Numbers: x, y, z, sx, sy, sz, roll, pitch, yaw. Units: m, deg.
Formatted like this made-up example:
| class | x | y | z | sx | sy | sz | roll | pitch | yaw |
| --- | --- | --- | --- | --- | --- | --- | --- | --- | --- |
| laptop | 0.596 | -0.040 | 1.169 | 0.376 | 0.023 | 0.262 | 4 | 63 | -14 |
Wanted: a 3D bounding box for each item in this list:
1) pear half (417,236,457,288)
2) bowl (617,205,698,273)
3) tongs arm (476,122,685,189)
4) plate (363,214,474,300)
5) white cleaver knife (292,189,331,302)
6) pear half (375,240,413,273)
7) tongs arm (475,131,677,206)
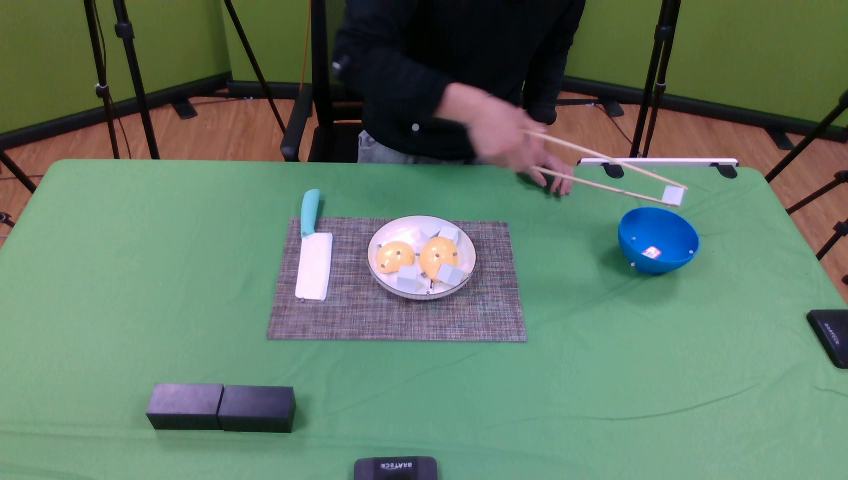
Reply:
| class | x | y | z | sx | sy | sz | roll | pitch | yaw |
| --- | --- | --- | --- | --- | --- | --- | --- | --- | --- |
| pear half | 0.022 | 0.039 | 1.127 | 0.076 | 0.056 | 0.109 | 5 | 50 | 7 |
| bowl | 0.444 | 0.011 | 1.181 | 0.151 | 0.077 | 0.150 | 2 | 46 | -2 |
| tongs arm | 0.279 | -0.145 | 1.057 | 0.388 | 0.028 | 0.027 | 16 | 21 | -9 |
| plate | -0.010 | 0.036 | 1.146 | 0.208 | 0.039 | 0.206 | 2 | 46 | -2 |
| white cleaver knife | -0.215 | 0.006 | 1.178 | 0.066 | 0.021 | 0.284 | 5 | 49 | -12 |
| pear half | -0.059 | 0.026 | 1.145 | 0.070 | 0.031 | 0.088 | 22 | 43 | 21 |
| tongs arm | 0.271 | -0.124 | 1.064 | 0.385 | 0.051 | 0.026 | 12 | 18 | -8 |
